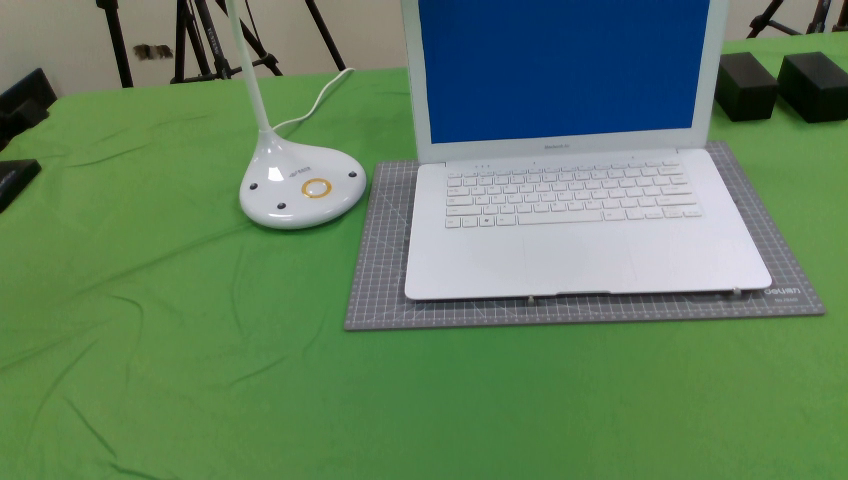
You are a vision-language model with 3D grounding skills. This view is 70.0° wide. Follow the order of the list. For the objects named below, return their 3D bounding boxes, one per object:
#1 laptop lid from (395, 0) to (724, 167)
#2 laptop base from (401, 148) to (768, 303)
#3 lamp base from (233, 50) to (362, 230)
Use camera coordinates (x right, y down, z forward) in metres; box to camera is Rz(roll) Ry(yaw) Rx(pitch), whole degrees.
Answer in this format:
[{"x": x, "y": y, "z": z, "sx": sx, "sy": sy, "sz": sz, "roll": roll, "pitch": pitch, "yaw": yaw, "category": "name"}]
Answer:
[{"x": 0.151, "y": -0.197, "z": 0.696, "sx": 0.356, "sy": 0.244, "sz": 0.013, "roll": -4, "pitch": 33, "yaw": 6, "category": "laptop lid"}, {"x": 0.157, "y": -0.020, "z": 0.673, "sx": 0.354, "sy": 0.023, "sz": 0.233, "roll": -3, "pitch": 44, "yaw": 6, "category": "laptop base"}, {"x": -0.175, "y": -0.128, "z": 0.727, "sx": 0.177, "sy": 0.182, "sz": 0.160, "roll": 25, "pitch": 50, "yaw": 36, "category": "lamp base"}]
